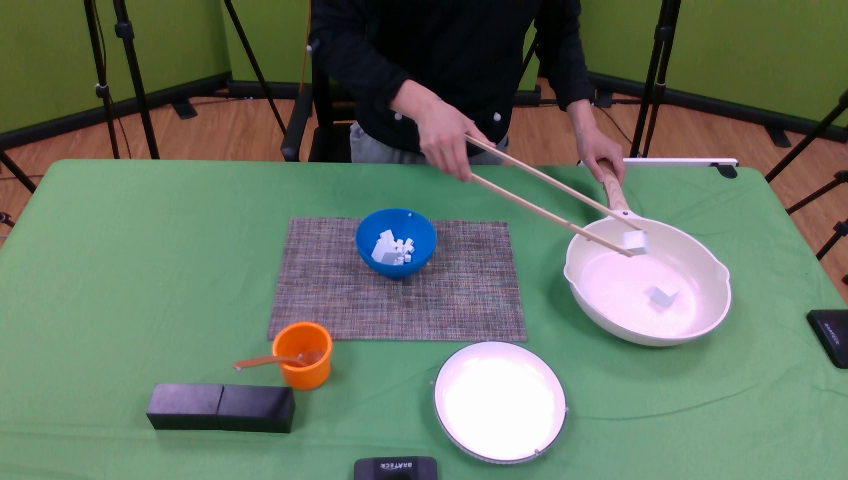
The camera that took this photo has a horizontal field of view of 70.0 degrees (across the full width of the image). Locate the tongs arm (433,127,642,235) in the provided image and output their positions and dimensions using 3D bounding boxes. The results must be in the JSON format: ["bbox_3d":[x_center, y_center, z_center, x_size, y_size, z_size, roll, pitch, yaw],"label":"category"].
[{"bbox_3d":[0.190,-0.101,1.023,0.387,0.028,0.028,29,89,6],"label":"tongs arm"}]

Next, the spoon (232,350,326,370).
[{"bbox_3d":[-0.216,0.182,0.919,0.041,0.194,0.021,43,102,28],"label":"spoon"}]

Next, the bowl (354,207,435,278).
[{"bbox_3d":[-0.055,0.018,1.132,0.151,0.077,0.150,2,46,-2],"label":"bowl"}]

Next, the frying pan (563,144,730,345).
[{"bbox_3d":[0.396,-0.008,1.179,0.307,0.103,0.484,0,55,-5],"label":"frying pan"}]

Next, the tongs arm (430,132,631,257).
[{"bbox_3d":[0.176,-0.078,1.020,0.384,0.026,0.050,26,85,6],"label":"tongs arm"}]

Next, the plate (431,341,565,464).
[{"bbox_3d":[0.114,0.255,0.952,0.208,0.039,0.206,2,46,-2],"label":"plate"}]
